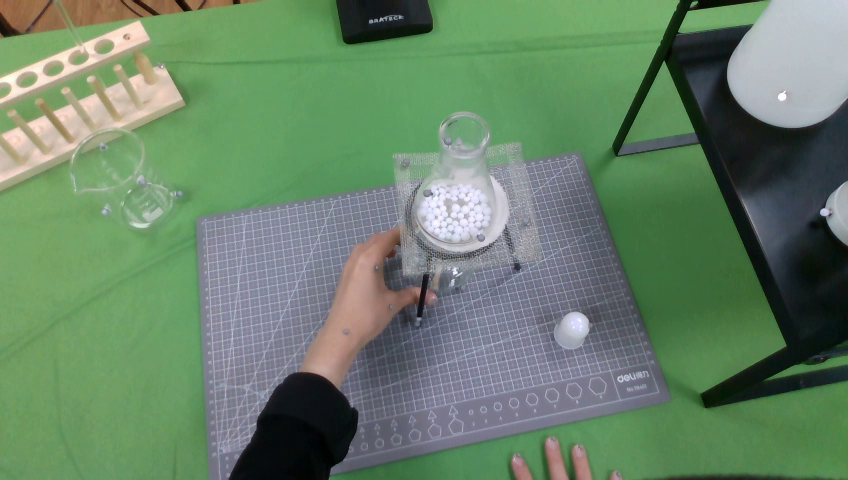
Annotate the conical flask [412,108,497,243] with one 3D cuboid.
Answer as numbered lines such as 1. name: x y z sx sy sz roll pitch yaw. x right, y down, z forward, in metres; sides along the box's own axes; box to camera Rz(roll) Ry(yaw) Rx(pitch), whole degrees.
1. conical flask: 0.027 -0.054 0.484 0.075 0.123 0.074 0 65 0

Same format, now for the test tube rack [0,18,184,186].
1. test tube rack: -0.416 -0.155 0.695 0.242 0.086 0.066 -29 69 -13

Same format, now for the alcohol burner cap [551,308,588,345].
1. alcohol burner cap: 0.148 0.084 0.610 0.034 0.048 0.033 0 66 0

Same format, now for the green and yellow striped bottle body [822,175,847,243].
1. green and yellow striped bottle body: 0.350 -0.044 0.431 0.063 0.120 0.062 0 65 0

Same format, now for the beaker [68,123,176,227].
1. beaker: -0.318 -0.062 0.646 0.073 0.101 0.084 33 70 15

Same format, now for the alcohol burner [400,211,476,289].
1. alcohol burner: 0.015 0.004 0.606 0.078 0.120 0.077 1 64 -2

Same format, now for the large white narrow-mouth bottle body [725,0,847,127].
1. large white narrow-mouth bottle body: 0.314 -0.179 0.453 0.102 0.196 0.101 0 63 0

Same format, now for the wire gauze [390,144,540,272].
1. wire gauze: 0.035 -0.034 0.540 0.121 0.011 0.124 -4 63 -5

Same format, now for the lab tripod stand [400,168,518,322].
1. lab tripod stand: 0.028 -0.001 0.597 0.148 0.132 0.147 1 63 -1

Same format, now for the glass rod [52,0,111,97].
1. glass rod: -0.376 -0.223 0.653 0.008 0.201 0.008 2 63 -4
